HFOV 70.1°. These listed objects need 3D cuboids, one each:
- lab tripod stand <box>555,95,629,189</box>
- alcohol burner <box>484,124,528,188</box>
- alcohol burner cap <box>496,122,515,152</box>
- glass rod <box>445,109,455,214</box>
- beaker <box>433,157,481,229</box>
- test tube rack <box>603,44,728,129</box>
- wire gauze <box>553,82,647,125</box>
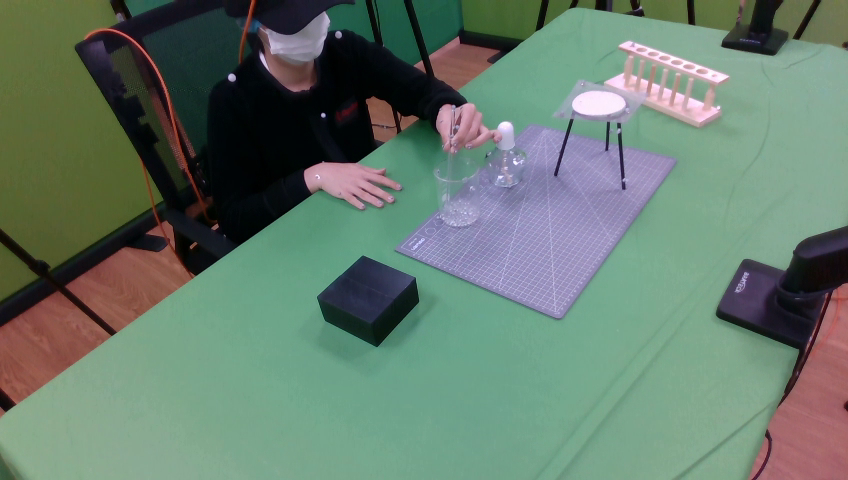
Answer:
[{"bbox_3d":[0.300,-0.174,1.045,0.148,0.132,0.147,-5,38,5],"label":"lab tripod stand"},{"bbox_3d":[0.144,-0.152,1.059,0.078,0.119,0.077,-3,41,3],"label":"alcohol burner"},{"bbox_3d":[0.139,-0.179,1.037,0.034,0.048,0.033,-4,43,4],"label":"alcohol burner cap"},{"bbox_3d":[0.042,-0.120,0.966,0.008,0.200,0.008,1,42,0],"label":"glass rod"},{"bbox_3d":[0.058,-0.077,0.994,0.073,0.101,0.084,19,46,28],"label":"beaker"},{"bbox_3d":[0.480,-0.316,1.227,0.067,0.085,0.240,-28,44,-22],"label":"test tube rack"},{"bbox_3d":[0.293,-0.225,1.002,0.120,0.011,0.125,17,45,27],"label":"wire gauze"}]
